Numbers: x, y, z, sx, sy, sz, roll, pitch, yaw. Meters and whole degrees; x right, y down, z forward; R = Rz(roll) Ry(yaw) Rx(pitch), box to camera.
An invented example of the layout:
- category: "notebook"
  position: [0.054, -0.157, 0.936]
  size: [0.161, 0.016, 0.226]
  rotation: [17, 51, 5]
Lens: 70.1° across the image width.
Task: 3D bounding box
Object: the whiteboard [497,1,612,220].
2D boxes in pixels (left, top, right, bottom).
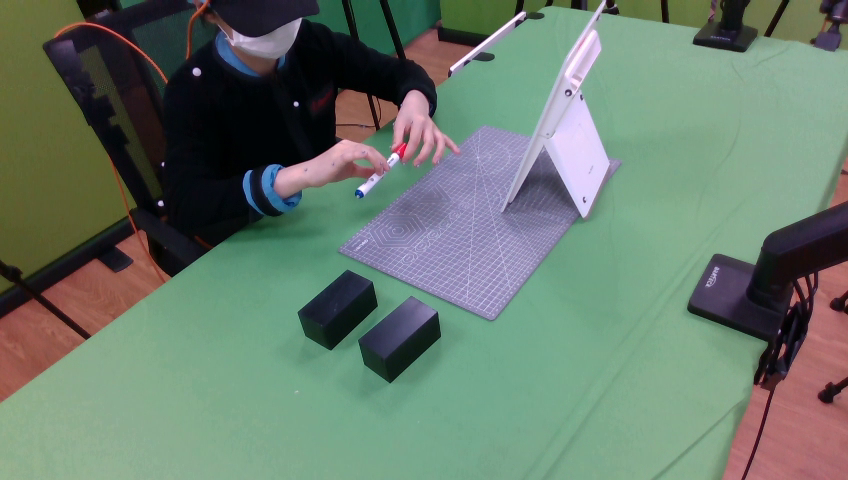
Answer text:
- category: "whiteboard"
  position: [0.260, -0.177, 0.963]
  size: [0.143, 0.306, 0.217]
  rotation: [28, 49, 9]

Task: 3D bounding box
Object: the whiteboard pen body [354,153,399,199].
- category: "whiteboard pen body"
  position: [-0.070, -0.110, 0.973]
  size: [0.016, 0.017, 0.141]
  rotation: [16, 46, 25]

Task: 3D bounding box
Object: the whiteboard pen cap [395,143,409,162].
- category: "whiteboard pen cap"
  position: [-0.038, -0.146, 1.008]
  size: [0.017, 0.017, 0.032]
  rotation: [12, 51, 21]
